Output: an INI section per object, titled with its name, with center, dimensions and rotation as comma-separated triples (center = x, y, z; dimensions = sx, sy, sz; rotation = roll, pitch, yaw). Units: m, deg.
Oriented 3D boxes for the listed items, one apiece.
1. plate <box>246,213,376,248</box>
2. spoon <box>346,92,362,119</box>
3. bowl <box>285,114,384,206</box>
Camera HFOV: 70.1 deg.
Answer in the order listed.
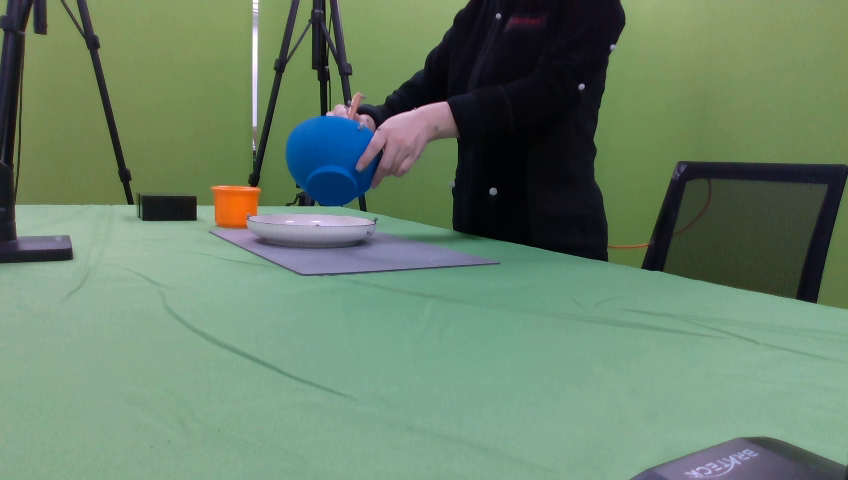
[plate]
center = -0.185, -0.017, 0.994
dimensions = 0.209, 0.038, 0.209
rotation = 3, 8, 0
[spoon]
center = -0.130, -0.165, 0.957
dimensions = 0.041, 0.193, 0.021
rotation = 13, -35, 0
[bowl]
center = -0.136, -0.104, 0.903
dimensions = 0.151, 0.151, 0.076
rotation = 2, 50, -4
